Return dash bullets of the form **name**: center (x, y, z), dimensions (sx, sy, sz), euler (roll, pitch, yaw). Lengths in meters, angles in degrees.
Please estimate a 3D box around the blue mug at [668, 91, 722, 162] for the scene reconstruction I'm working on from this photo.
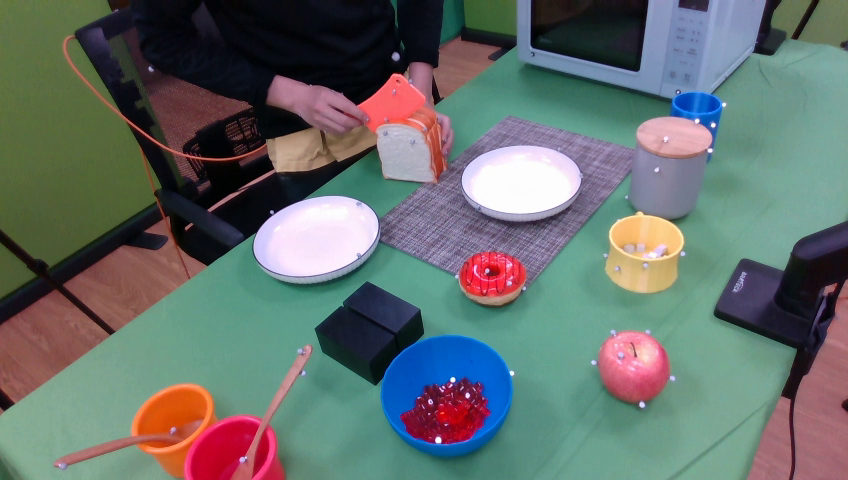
- **blue mug**: center (0.474, -0.207, 1.078), dimensions (0.082, 0.106, 0.116), euler (4, 42, 13)

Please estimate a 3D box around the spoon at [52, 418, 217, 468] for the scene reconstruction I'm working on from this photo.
- **spoon**: center (-0.308, 0.220, 0.663), dimensions (0.041, 0.195, 0.021), euler (21, 93, 29)

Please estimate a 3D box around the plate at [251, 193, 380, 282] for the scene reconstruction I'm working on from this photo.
- **plate**: center (-0.173, -0.001, 0.984), dimensions (0.209, 0.038, 0.208), euler (-4, 40, 4)

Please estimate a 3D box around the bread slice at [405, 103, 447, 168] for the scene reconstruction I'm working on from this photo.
- **bread slice**: center (-0.013, -0.193, 1.113), dimensions (0.104, 0.132, 0.019), euler (7, 43, 18)

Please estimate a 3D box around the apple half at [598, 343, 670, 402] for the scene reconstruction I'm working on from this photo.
- **apple half**: center (0.247, 0.161, 0.710), dimensions (0.081, 0.075, 0.053), euler (2, 47, 5)

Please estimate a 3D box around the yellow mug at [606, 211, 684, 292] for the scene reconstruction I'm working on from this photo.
- **yellow mug**: center (0.318, 0.008, 0.883), dimensions (0.100, 0.064, 0.130), euler (0, 40, 9)

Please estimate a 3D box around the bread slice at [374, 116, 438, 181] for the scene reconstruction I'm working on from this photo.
- **bread slice**: center (-0.037, -0.161, 1.076), dimensions (0.106, 0.135, 0.018), euler (4, 49, 18)

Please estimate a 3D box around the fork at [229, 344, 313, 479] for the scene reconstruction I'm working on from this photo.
- **fork**: center (-0.173, 0.205, 0.662), dimensions (0.028, 0.019, 0.207), euler (29, 94, 36)

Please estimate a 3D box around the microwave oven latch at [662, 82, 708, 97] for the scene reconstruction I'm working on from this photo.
- **microwave oven latch**: center (0.517, -0.298, 1.202), dimensions (0.078, 0.029, 0.030), euler (27, 52, 34)

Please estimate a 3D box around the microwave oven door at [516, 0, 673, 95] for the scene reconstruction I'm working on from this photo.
- **microwave oven door**: center (0.344, -0.458, 1.256), dimensions (0.353, 0.245, 0.039), euler (26, 51, 33)

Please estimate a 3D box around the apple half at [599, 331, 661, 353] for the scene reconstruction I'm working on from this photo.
- **apple half**: center (0.249, 0.134, 0.738), dimensions (0.081, 0.081, 0.032), euler (-1, 46, 7)

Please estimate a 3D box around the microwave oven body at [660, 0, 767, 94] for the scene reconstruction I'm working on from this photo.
- **microwave oven body**: center (0.473, -0.516, 1.313), dimensions (0.438, 0.261, 0.327), euler (26, 51, 34)

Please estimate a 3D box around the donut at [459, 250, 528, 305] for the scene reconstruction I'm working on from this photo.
- **donut**: center (0.100, 0.053, 0.872), dimensions (0.099, 0.048, 0.098), euler (-5, 40, 4)

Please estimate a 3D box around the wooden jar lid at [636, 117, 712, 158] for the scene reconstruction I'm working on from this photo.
- **wooden jar lid**: center (0.377, -0.151, 0.917), dimensions (0.108, 0.021, 0.108), euler (-2, 42, 2)

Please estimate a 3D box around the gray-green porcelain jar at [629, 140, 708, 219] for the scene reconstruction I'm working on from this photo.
- **gray-green porcelain jar**: center (0.383, -0.105, 0.958), dimensions (0.106, 0.127, 0.105), euler (-4, 41, 4)

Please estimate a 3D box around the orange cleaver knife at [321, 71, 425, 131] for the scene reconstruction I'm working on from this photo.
- **orange cleaver knife**: center (-0.091, -0.223, 1.047), dimensions (0.210, 0.077, 0.012), euler (-20, 30, 35)

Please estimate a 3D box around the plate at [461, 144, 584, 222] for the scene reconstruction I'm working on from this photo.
- **plate**: center (0.167, -0.095, 1.040), dimensions (0.207, 0.039, 0.206), euler (-4, 40, 4)

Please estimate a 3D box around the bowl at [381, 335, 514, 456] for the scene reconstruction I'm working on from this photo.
- **bowl**: center (0.029, 0.192, 0.701), dimensions (0.151, 0.077, 0.150), euler (-4, 40, 4)
